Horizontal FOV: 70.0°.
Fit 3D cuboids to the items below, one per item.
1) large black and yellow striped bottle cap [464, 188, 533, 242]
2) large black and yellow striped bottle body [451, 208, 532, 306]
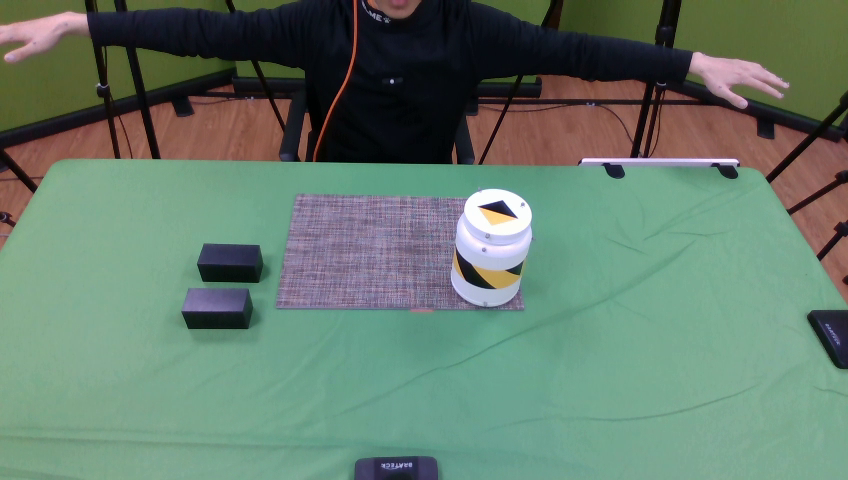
[{"bbox_3d":[0.124,-0.044,1.014,0.115,0.019,0.114,2,47,-1],"label":"large black and yellow striped bottle cap"},{"bbox_3d":[0.119,0.014,1.074,0.131,0.185,0.130,2,46,-2],"label":"large black and yellow striped bottle body"}]
